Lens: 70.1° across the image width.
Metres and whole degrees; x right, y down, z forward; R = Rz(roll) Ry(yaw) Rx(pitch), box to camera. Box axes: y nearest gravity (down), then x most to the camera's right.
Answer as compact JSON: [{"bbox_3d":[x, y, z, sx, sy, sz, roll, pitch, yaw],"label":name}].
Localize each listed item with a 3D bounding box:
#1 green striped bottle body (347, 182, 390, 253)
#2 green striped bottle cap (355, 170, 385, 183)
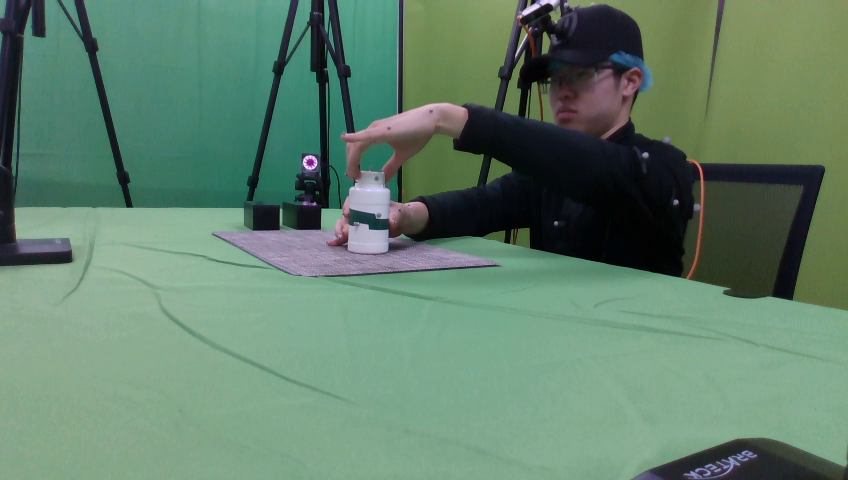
[{"bbox_3d":[-0.083,-0.042,0.913,0.063,0.119,0.063,3,7,0],"label":"green striped bottle body"},{"bbox_3d":[-0.081,-0.094,0.906,0.044,0.020,0.044,1,6,0],"label":"green striped bottle cap"}]
